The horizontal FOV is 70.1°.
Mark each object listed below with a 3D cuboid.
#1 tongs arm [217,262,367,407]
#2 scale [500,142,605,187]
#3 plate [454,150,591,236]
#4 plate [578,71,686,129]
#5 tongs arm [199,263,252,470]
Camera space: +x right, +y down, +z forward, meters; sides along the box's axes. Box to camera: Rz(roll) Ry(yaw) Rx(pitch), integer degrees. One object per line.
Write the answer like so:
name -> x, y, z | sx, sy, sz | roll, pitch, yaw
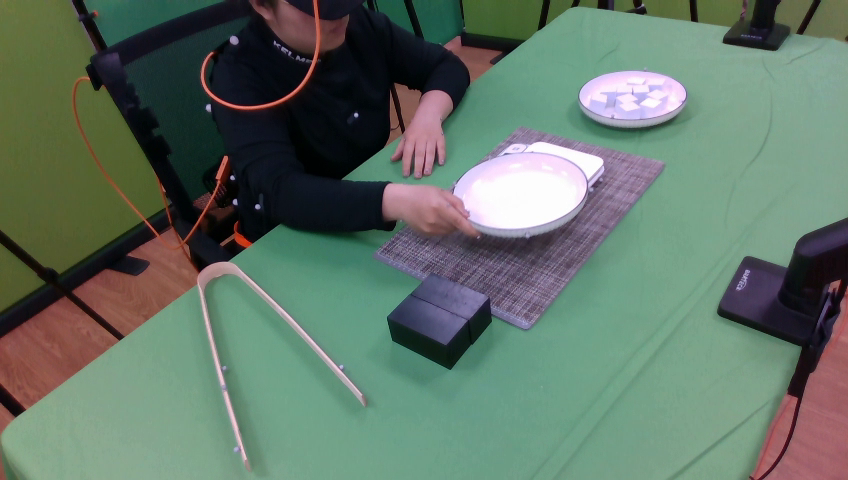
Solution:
tongs arm -> -0.200, 0.122, 0.871 | 0.028, 0.028, 0.384 | -36, 46, -24
scale -> 0.202, -0.121, 1.074 | 0.199, 0.032, 0.149 | 23, 49, 33
plate -> 0.152, -0.070, 0.936 | 0.207, 0.039, 0.206 | -7, 39, 6
plate -> 0.416, -0.279, 1.222 | 0.209, 0.038, 0.208 | -5, 41, 5
tongs arm -> -0.269, 0.154, 0.841 | 0.051, 0.026, 0.381 | -23, 41, -17
